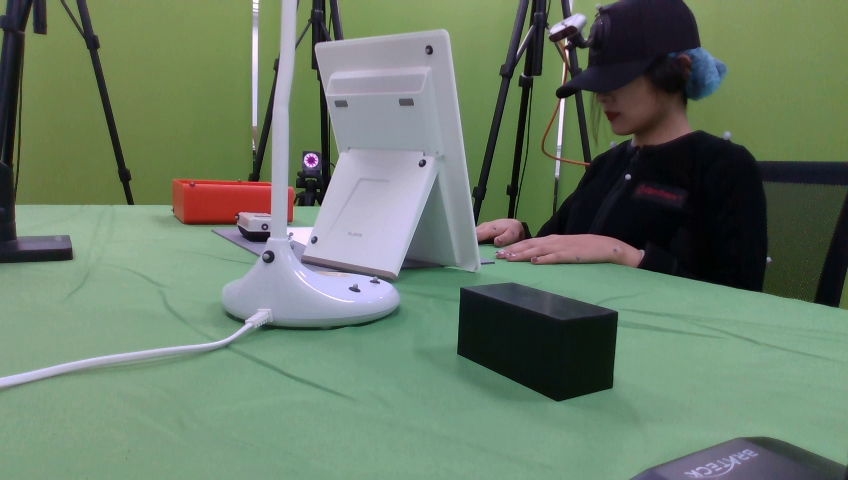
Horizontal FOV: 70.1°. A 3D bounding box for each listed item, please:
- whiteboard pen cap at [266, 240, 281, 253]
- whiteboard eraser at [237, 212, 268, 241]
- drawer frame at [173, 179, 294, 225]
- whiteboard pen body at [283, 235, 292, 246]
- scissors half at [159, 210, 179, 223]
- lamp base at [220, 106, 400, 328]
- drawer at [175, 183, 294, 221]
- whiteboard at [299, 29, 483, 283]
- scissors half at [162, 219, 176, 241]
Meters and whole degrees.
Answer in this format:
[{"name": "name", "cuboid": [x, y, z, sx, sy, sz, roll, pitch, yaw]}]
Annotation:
[{"name": "whiteboard pen cap", "cuboid": [-0.202, 0.009, 0.813, 0.018, 0.018, 0.033, 1, 3, -8]}, {"name": "whiteboard eraser", "cuboid": [-0.272, -0.023, 0.998, 0.056, 0.042, 0.112, -3, 9, -26]}, {"name": "drawer frame", "cuboid": [-0.404, -0.083, 1.277, 0.215, 0.082, 0.200, -2, 9, -29]}, {"name": "whiteboard pen body", "cuboid": [-0.206, 0.005, 0.872, 0.017, 0.017, 0.140, 2, 4, -6]}, {"name": "scissors half", "cuboid": [-0.506, -0.066, 1.256, 0.013, 0.040, 0.175, 3, 22, 4]}, {"name": "lamp base", "cuboid": [-0.101, -0.023, 0.531, 0.160, 0.180, 0.179, 4, 10, 10]}, {"name": "drawer", "cuboid": [-0.402, -0.082, 1.279, 0.213, 0.073, 0.193, -2, 10, -28]}, {"name": "whiteboard", "cuboid": [-0.074, -0.082, 0.742, 0.216, 0.305, 0.144, 9, 29, 38]}, {"name": "scissors half", "cuboid": [-0.507, -0.055, 1.262, 0.013, 0.040, 0.175, 9, 39, 2]}]
